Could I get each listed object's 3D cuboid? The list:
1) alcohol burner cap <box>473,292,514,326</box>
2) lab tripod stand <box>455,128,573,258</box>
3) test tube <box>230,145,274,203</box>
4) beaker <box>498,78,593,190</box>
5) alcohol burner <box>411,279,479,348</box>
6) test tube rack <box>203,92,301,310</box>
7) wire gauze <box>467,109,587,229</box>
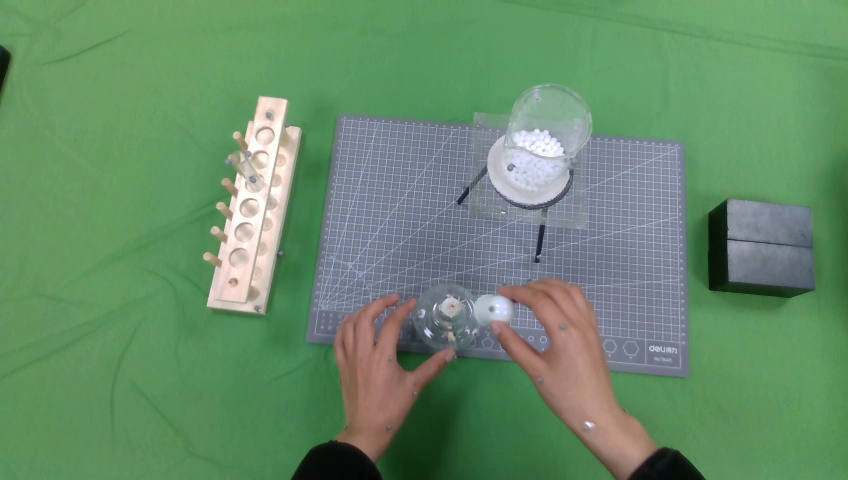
[{"bbox_3d":[0.067,0.065,0.572,0.034,0.048,0.034,1,84,-10],"label":"alcohol burner cap"},{"bbox_3d":[0.112,-0.064,0.695,0.148,0.132,0.147,0,73,0],"label":"lab tripod stand"},{"bbox_3d":[-0.187,-0.069,0.669,0.017,0.151,0.017,1,76,-2],"label":"test tube"},{"bbox_3d":[0.109,-0.095,0.585,0.084,0.101,0.073,-28,77,-8],"label":"beaker"},{"bbox_3d":[0.025,0.078,0.666,0.078,0.119,0.077,1,75,-2],"label":"alcohol burner"},{"bbox_3d":[-0.208,-0.046,0.714,0.067,0.085,0.241,7,75,2],"label":"test tube rack"},{"bbox_3d":[0.108,-0.078,0.630,0.125,0.011,0.121,7,76,-1],"label":"wire gauze"}]
